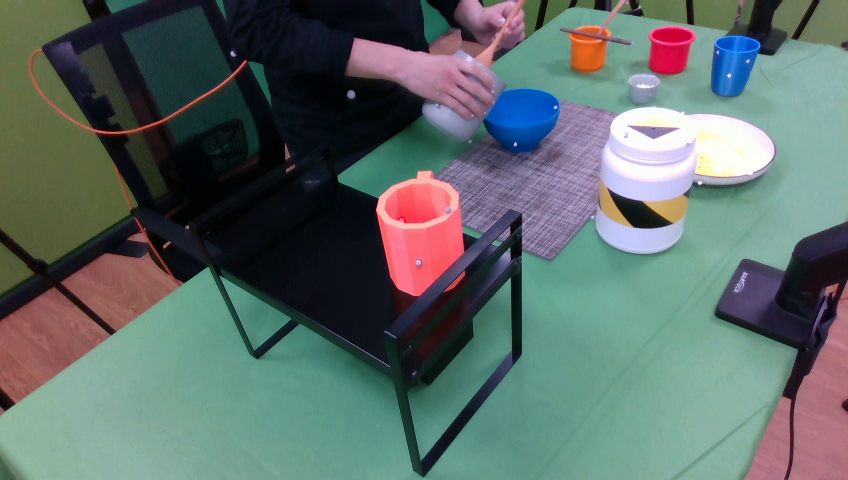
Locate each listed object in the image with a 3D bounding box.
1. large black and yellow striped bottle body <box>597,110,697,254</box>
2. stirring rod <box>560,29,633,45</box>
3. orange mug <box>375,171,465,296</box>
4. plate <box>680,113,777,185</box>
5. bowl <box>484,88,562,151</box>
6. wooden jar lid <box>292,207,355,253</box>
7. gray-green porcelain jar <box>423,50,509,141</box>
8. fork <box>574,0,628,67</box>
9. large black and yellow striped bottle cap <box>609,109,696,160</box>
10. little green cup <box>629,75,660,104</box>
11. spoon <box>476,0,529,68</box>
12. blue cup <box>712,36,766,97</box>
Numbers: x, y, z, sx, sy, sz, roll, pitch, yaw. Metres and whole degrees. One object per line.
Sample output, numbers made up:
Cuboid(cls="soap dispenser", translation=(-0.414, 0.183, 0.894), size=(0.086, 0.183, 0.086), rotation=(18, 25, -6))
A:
Cuboid(cls="large black and yellow striped bottle body", translation=(0.331, -0.086, 0.904), size=(0.131, 0.185, 0.130), rotation=(-5, 41, 4))
Cuboid(cls="stirring rod", translation=(0.381, -0.452, 1.345), size=(0.174, 0.006, 0.014), rotation=(25, 49, 33))
Cuboid(cls="orange mug", translation=(0.000, -0.016, 0.661), size=(0.083, 0.101, 0.125), rotation=(-2, 45, 8))
Cuboid(cls="plate", translation=(0.506, -0.158, 1.073), size=(0.209, 0.038, 0.208), rotation=(-4, 40, 4))
Cuboid(cls="bowl", translation=(0.187, -0.223, 1.161), size=(0.151, 0.077, 0.150), rotation=(-4, 40, 4))
Cuboid(cls="wooden jar lid", translation=(-0.169, -0.015, 1.026), size=(0.108, 0.021, 0.108), rotation=(-4, 40, 4))
Cuboid(cls="gray-green porcelain jar", translation=(0.068, -0.246, 1.049), size=(0.126, 0.107, 0.105), rotation=(-55, 45, 12))
Cuboid(cls="fork", translation=(0.413, -0.481, 1.377), size=(0.207, 0.019, 0.028), rotation=(-56, 43, 12))
Cuboid(cls="large black and yellow striped bottle cap", translation=(0.319, -0.150, 0.849), size=(0.115, 0.019, 0.114), rotation=(-4, 39, 3))
Cuboid(cls="little green cup", translation=(0.457, -0.314, 1.260), size=(0.061, 0.039, 0.061), rotation=(-4, 40, 4))
Cuboid(cls="spoon", translation=(0.129, -0.346, 1.037), size=(0.041, 0.022, 0.193), rotation=(34, 91, 15))
Cuboid(cls="blue cup", translation=(0.627, -0.350, 1.227), size=(0.092, 0.100, 0.092), rotation=(-4, 39, 4))
